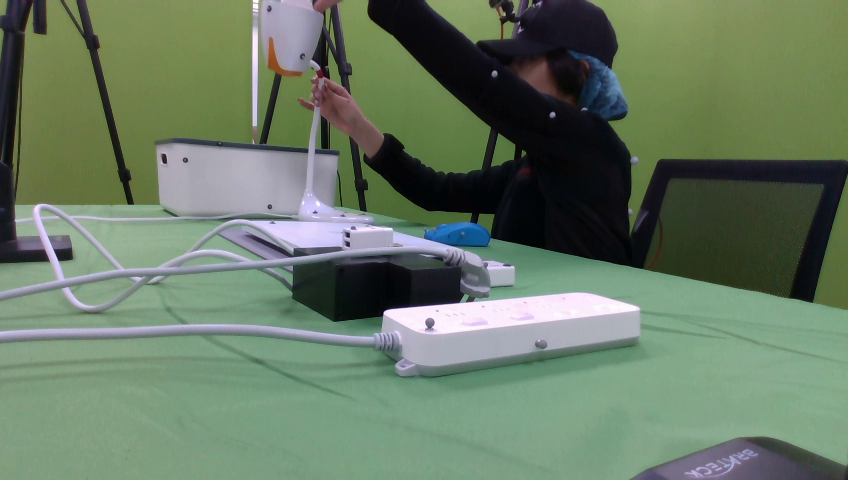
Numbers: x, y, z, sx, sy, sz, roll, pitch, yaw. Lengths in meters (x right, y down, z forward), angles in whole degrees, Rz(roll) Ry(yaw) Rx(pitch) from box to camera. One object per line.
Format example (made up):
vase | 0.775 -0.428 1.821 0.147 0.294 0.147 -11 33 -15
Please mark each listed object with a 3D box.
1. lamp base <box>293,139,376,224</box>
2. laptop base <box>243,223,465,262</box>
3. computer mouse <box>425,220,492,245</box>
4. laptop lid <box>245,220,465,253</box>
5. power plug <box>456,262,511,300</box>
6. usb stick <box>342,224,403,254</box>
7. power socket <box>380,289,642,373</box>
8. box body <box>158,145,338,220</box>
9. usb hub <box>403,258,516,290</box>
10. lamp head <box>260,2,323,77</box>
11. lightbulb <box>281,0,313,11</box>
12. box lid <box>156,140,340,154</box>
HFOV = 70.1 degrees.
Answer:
lamp base | -0.191 -0.121 1.258 0.179 0.180 0.161 0 6 7
laptop base | -0.126 0.003 0.946 0.237 0.023 0.352 2 6 -31
computer mouse | 0.060 -0.013 1.060 0.117 0.041 0.062 -2 9 -6
laptop lid | -0.124 -0.009 0.945 0.243 0.013 0.355 1 7 -29
power plug | 0.052 0.051 0.543 0.035 0.052 0.072 6 38 -20
usb stick | -0.047 -0.001 0.567 0.059 0.027 0.021 0 5 -32
power socket | 0.072 0.064 0.461 0.228 0.032 0.072 -2 8 -30
box body | -0.410 -0.139 1.414 0.366 0.160 0.253 -2 8 -33
usb hub | 0.042 0.038 0.690 0.126 0.025 0.049 -2 10 -29
lamp head | -0.245 -0.361 1.107 0.112 0.123 0.112 7 15 -2
lightbulb | -0.236 -0.388 1.093 0.059 0.107 0.059 16 14 -4
box lid | -0.409 -0.213 1.404 0.373 0.015 0.262 -2 8 -32
